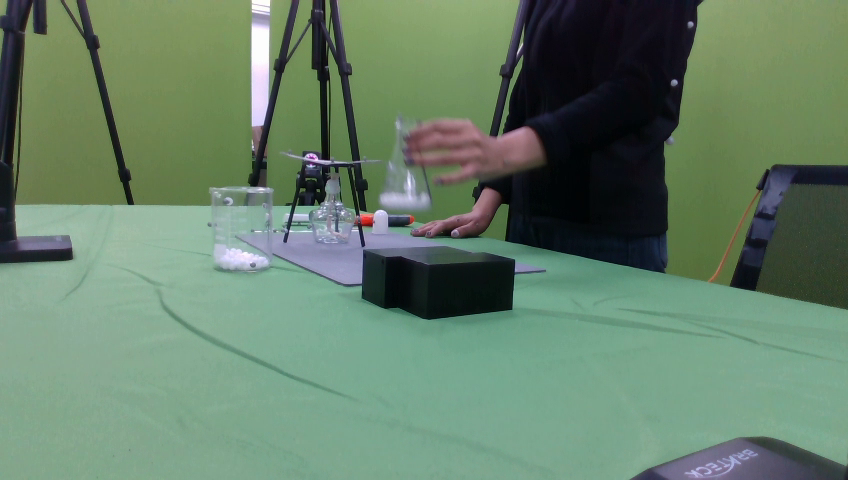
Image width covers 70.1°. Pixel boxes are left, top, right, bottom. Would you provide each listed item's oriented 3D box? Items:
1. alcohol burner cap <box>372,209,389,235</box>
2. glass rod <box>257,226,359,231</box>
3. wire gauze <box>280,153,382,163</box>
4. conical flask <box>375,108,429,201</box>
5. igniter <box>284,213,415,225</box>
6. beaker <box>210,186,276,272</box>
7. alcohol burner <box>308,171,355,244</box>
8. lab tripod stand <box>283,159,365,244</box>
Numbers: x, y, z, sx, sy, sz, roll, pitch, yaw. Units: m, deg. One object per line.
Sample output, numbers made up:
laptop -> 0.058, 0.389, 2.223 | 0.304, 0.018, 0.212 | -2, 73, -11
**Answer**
alcohol burner cap -> -0.082, -0.035, 1.143 | 0.034, 0.048, 0.034 | 2, 6, 0
glass rod -> -0.216, -0.022, 1.151 | 0.201, 0.008, 0.008 | -2, 8, -28
wire gauze -> -0.149, -0.129, 0.974 | 0.124, 0.011, 0.122 | 10, 9, 40
conical flask -> -0.027, -0.116, 0.820 | 0.075, 0.122, 0.075 | 3, 9, 0
igniter -> -0.154, -0.045, 1.282 | 0.278, 0.025, 0.057 | 0, -3, -20
beaker -> -0.224, -0.014, 0.738 | 0.084, 0.100, 0.074 | 4, 7, 16
alcohol burner -> -0.151, -0.054, 0.993 | 0.078, 0.119, 0.078 | 2, 6, 0
lab tripod stand -> -0.151, -0.063, 0.983 | 0.148, 0.131, 0.148 | 4, 7, 0
